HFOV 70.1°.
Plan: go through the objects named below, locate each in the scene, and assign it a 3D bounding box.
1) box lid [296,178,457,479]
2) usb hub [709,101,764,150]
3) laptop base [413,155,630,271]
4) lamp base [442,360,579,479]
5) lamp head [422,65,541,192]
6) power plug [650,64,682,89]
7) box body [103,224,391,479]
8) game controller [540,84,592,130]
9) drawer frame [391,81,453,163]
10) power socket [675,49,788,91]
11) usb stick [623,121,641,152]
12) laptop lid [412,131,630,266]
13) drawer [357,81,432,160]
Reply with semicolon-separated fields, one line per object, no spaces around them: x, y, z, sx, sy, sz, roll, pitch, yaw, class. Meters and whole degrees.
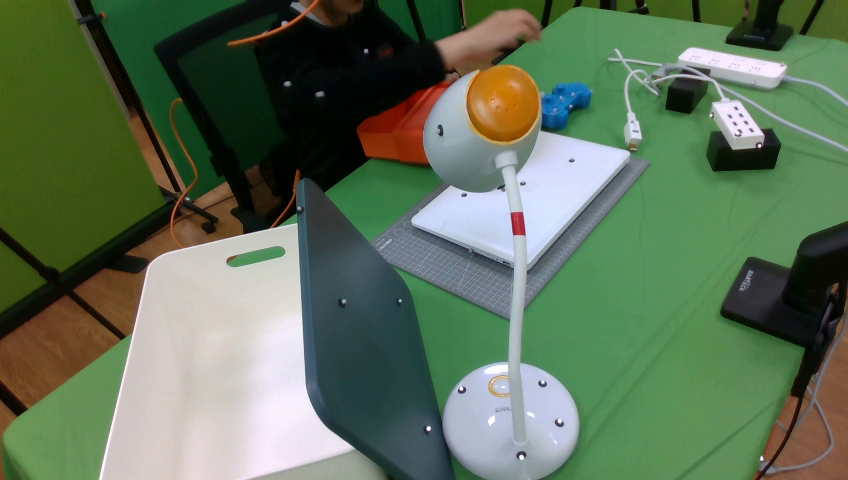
-0.059;0.103;0.702;0.015;0.265;0.369;-30;39;11;box lid
0.534;-0.199;1.040;0.049;0.025;0.124;-5;39;8;usb hub
0.176;-0.085;1.056;0.233;0.023;0.355;21;48;35;laptop base
0.094;0.158;0.657;0.161;0.181;0.178;-14;42;-5;lamp base
0.060;-0.106;0.560;0.113;0.112;0.122;-17;0;-8;lamp head
0.498;-0.341;1.263;0.035;0.052;0.072;20;10;-7;power plug
-0.190;0.161;0.723;0.255;0.161;0.361;-13;40;-5;box body
0.277;-0.282;1.251;0.096;0.052;0.155;27;52;30;game controller
0.080;-0.226;1.166;0.212;0.083;0.202;9;44;27;drawer frame
0.647;-0.363;1.284;0.225;0.033;0.072;26;53;35;power socket
0.389;-0.191;1.128;0.021;0.027;0.059;9;61;-9;usb stick
0.172;-0.094;1.050;0.239;0.013;0.358;23;49;36;laptop lid
0.007;-0.237;1.204;0.210;0.073;0.194;11;45;28;drawer
